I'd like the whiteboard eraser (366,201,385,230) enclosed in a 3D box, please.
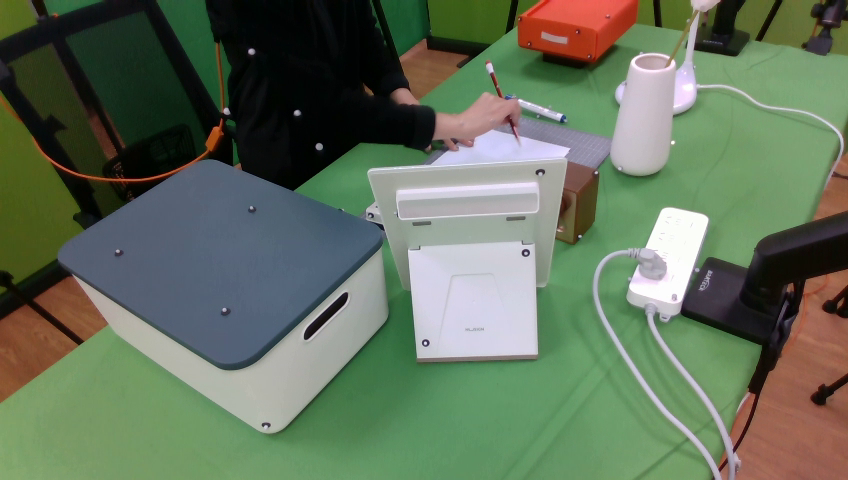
[{"bbox_3d":[-0.038,-0.038,1.006,0.112,0.042,0.055,16,47,25],"label":"whiteboard eraser"}]

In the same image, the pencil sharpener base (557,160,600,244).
[{"bbox_3d":[0.228,-0.057,0.945,0.061,0.107,0.077,24,50,31],"label":"pencil sharpener base"}]

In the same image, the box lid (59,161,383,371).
[{"bbox_3d":[-0.262,0.010,0.777,0.369,0.015,0.264,21,48,29],"label":"box lid"}]

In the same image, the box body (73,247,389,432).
[{"bbox_3d":[-0.255,0.065,0.827,0.361,0.161,0.255,21,48,29],"label":"box body"}]

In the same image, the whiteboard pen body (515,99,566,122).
[{"bbox_3d":[0.234,-0.274,1.262,0.139,0.017,0.017,28,51,29],"label":"whiteboard pen body"}]

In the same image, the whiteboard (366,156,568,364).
[{"bbox_3d":[0.059,0.050,0.738,0.217,0.307,0.143,-2,60,6],"label":"whiteboard"}]

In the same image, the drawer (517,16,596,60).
[{"bbox_3d":[0.352,-0.506,1.405,0.193,0.073,0.212,23,49,32],"label":"drawer"}]

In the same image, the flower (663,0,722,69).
[{"bbox_3d":[0.379,-0.261,0.965,0.044,0.362,0.038,20,53,5],"label":"flower"}]

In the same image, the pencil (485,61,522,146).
[{"bbox_3d":[0.149,-0.256,1.128,0.012,0.012,0.193,-15,70,-9],"label":"pencil"}]

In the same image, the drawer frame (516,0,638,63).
[{"bbox_3d":[0.355,-0.508,1.411,0.200,0.083,0.214,23,51,32],"label":"drawer frame"}]

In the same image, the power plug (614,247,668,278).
[{"bbox_3d":[0.306,0.031,0.851,0.072,0.053,0.035,24,49,33],"label":"power plug"}]

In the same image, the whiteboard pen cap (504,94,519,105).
[{"bbox_3d":[0.190,-0.299,1.292,0.033,0.018,0.018,29,52,28],"label":"whiteboard pen cap"}]

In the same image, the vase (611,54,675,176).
[{"bbox_3d":[0.377,-0.209,1.031,0.098,0.201,0.097,-4,40,3],"label":"vase"}]

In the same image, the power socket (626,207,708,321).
[{"bbox_3d":[0.359,0.025,0.886,0.072,0.033,0.227,16,46,26],"label":"power socket"}]

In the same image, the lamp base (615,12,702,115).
[{"bbox_3d":[0.484,-0.363,1.211,0.180,0.181,0.159,-15,41,-14],"label":"lamp base"}]

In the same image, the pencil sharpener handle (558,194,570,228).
[{"bbox_3d":[0.195,-0.038,0.908,0.035,0.068,0.031,24,50,30],"label":"pencil sharpener handle"}]
